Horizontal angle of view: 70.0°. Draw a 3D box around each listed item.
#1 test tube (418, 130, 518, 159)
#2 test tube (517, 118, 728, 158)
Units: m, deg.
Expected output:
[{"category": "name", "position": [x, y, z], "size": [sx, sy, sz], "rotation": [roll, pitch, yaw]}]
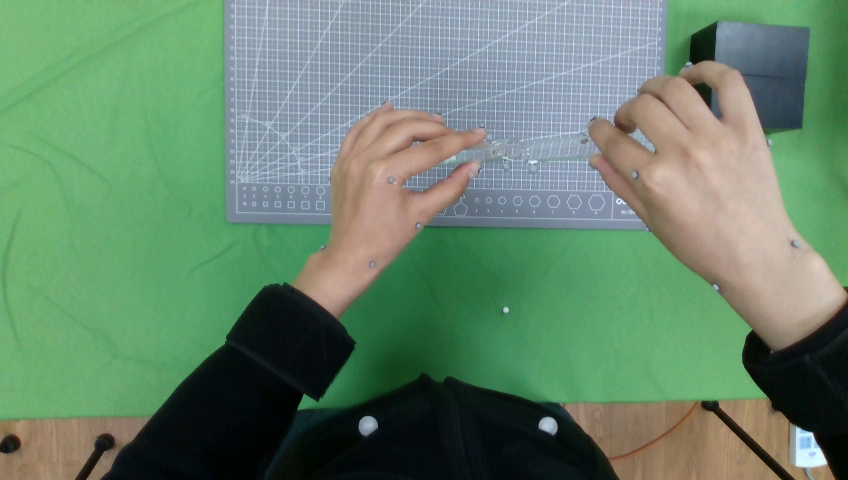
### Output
[{"category": "test tube", "position": [0.030, -0.075, 0.485], "size": [0.017, 0.149, 0.017], "rotation": [-3, 96, -24]}, {"category": "test tube", "position": [0.139, -0.071, 0.420], "size": [0.151, 0.017, 0.017], "rotation": [-6, 95, -6]}]
